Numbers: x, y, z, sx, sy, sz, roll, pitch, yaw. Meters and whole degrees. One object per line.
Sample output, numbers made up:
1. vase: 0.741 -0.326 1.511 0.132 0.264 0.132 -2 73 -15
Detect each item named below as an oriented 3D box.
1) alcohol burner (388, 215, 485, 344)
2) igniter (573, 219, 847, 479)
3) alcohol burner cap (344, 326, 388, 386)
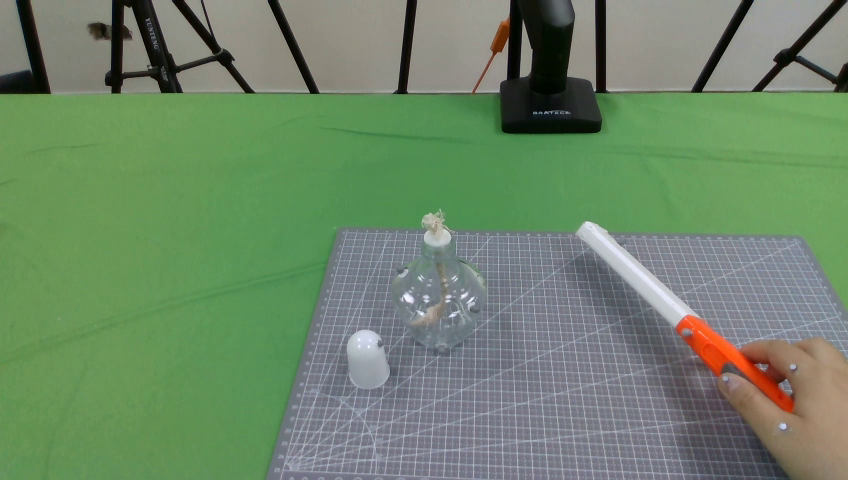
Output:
1. alcohol burner: 0.010 0.026 0.473 0.078 0.120 0.077 0 43 0
2. igniter: 0.207 0.069 0.459 0.058 0.025 0.273 16 26 -40
3. alcohol burner cap: -0.046 0.085 0.463 0.034 0.048 0.033 -1 42 1
